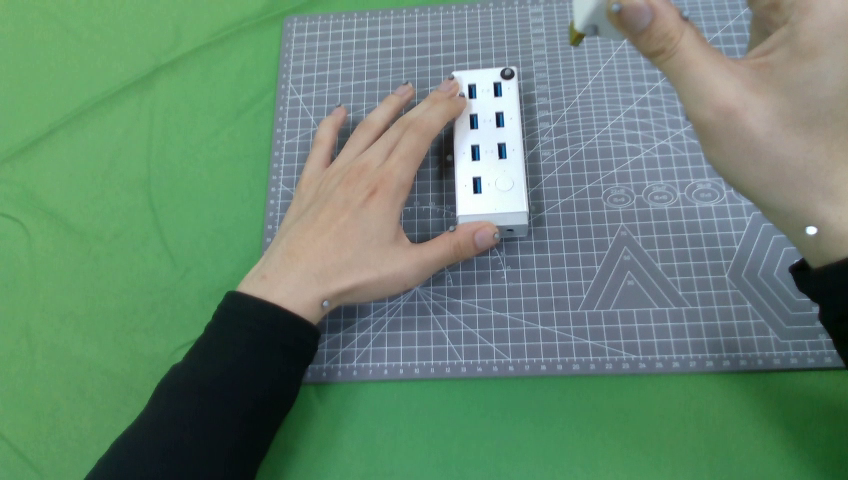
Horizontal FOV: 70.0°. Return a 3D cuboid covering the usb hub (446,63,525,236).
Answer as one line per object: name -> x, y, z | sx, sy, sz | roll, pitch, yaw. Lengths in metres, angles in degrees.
usb hub -> 0.043, -0.066, 0.426 | 0.049, 0.025, 0.124 | -3, 69, 4

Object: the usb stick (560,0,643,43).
usb stick -> 0.083, -0.115, 0.251 | 0.021, 0.027, 0.059 | 44, 119, 32
